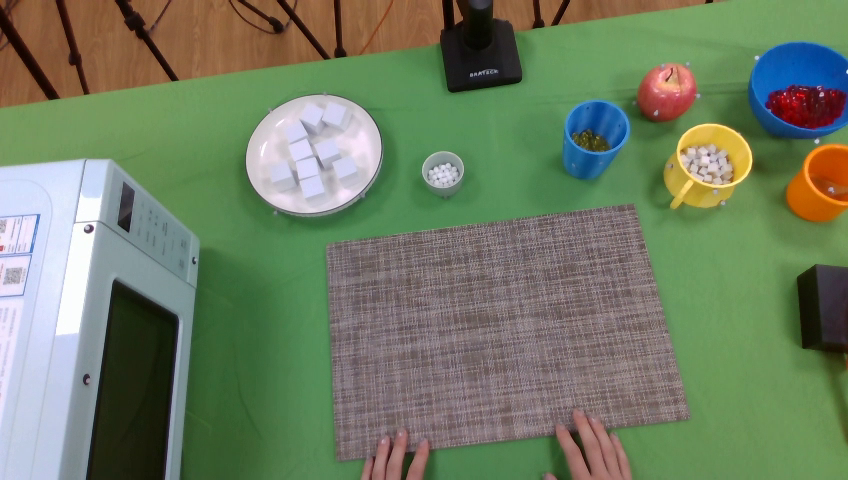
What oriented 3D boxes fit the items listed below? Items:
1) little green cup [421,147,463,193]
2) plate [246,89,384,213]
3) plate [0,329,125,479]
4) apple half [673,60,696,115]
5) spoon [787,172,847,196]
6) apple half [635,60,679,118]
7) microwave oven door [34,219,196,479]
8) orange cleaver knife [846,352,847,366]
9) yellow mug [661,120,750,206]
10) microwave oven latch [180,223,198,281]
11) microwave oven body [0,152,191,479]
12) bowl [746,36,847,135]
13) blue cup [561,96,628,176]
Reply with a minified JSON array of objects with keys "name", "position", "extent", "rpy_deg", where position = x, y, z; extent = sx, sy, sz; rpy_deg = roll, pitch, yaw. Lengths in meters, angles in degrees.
[{"name":"little green cup","position":[0.027,-0.101,0.891],"extent":[0.061,0.039,0.061],"rpy_deg":[-2,69,4]},{"name":"plate","position":[-0.162,-0.132,0.918],"extent":[0.207,0.039,0.206],"rpy_deg":[-1,69,4]},{"name":"plate","position":[-0.466,0.213,0.740],"extent":[0.209,0.038,0.207],"rpy_deg":[-1,69,3]},{"name":"apple half","position":[0.379,-0.222,0.890],"extent":[0.033,0.082,0.080],"rpy_deg":[-3,68,7]},{"name":"spoon","position":[0.565,-0.066,0.775],"extent":[0.041,0.192,0.022],"rpy_deg":[-48,116,-13]},{"name":"apple half","position":[0.340,-0.220,0.894],"extent":[0.053,0.075,0.080],"rpy_deg":[-3,72,7]},{"name":"microwave oven door","position":[-0.336,0.184,0.681],"extent":[0.039,0.245,0.353],"rpy_deg":[-5,68,3]},{"name":"orange cleaver knife","position":[0.535,0.139,0.734],"extent":[0.012,0.077,0.212],"rpy_deg":[6,99,10]},{"name":"yellow mug","position":[0.383,-0.098,0.847],"extent":[0.099,0.064,0.130],"rpy_deg":[39,78,17]},{"name":"microwave oven latch","position":[-0.338,0.018,0.854],"extent":[0.030,0.030,0.078],"rpy_deg":[-3,69,3]},{"name":"microwave oven body","position":[-0.483,0.158,0.708],"extent":[0.326,0.262,0.438],"rpy_deg":[-4,69,2]},{"name":"bowl","position":[0.531,-0.206,0.870],"extent":[0.151,0.077,0.150],"rpy_deg":[-2,70,5]},{"name":"blue cup","position":[0.233,-0.139,0.856],"extent":[0.092,0.101,0.092],"rpy_deg":[-1,70,3]}]
